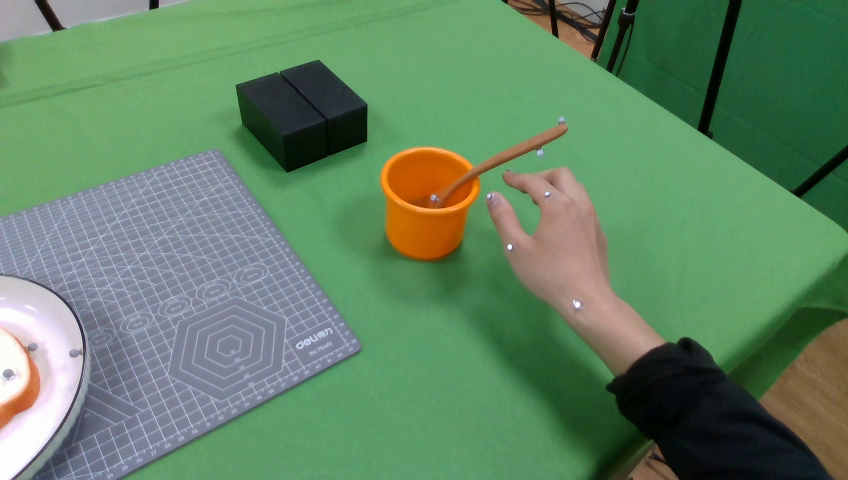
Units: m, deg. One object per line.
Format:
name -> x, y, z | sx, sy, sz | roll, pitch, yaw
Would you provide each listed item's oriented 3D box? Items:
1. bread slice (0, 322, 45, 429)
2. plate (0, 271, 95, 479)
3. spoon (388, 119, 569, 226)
bread slice -> -0.346, 0.111, 0.426 | 0.104, 0.019, 0.131 | 35, 55, 22
plate -> -0.340, 0.112, 0.422 | 0.209, 0.038, 0.207 | 4, 48, -4
spoon -> 0.044, -0.060, 0.553 | 0.022, 0.193, 0.041 | 42, 35, -28
